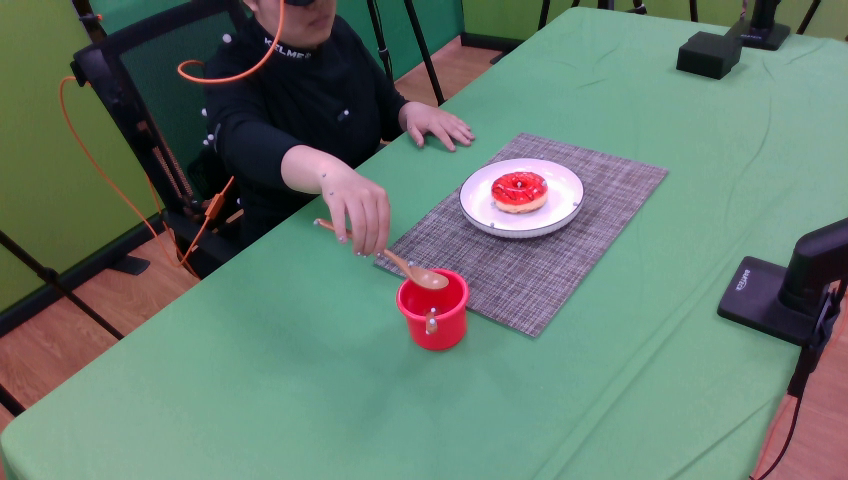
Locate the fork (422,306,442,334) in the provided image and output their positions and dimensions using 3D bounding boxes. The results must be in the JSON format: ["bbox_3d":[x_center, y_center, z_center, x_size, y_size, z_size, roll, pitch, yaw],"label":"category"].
[{"bbox_3d":[0.010,0.100,0.766,0.028,0.018,0.207,-10,-3,0],"label":"fork"}]

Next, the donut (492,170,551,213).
[{"bbox_3d":[0.163,-0.083,1.015,0.099,0.048,0.098,-6,37,5],"label":"donut"}]

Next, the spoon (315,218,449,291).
[{"bbox_3d":[-0.055,0.016,0.792,0.194,0.021,0.041,31,34,-6],"label":"spoon"}]

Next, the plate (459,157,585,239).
[{"bbox_3d":[0.163,-0.068,1.015,0.209,0.038,0.208,-5,40,5],"label":"plate"}]
